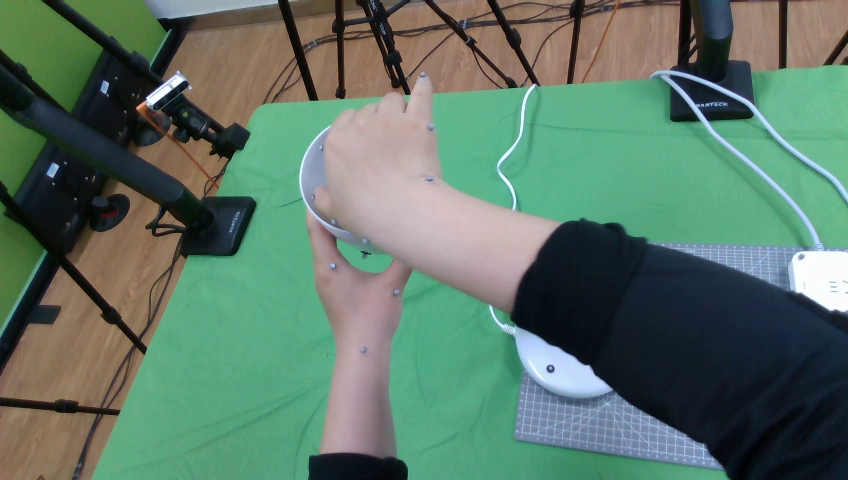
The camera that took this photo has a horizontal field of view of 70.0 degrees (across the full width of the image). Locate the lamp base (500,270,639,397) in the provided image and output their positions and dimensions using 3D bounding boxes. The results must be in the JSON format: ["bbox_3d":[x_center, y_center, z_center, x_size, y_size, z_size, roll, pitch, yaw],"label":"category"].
[{"bbox_3d":[0.165,0.089,0.740,0.178,0.182,0.159,-5,57,19],"label":"lamp base"}]

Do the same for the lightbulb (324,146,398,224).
[{"bbox_3d":[-0.048,-0.040,0.514,0.059,0.108,0.059,-2,74,6],"label":"lightbulb"}]

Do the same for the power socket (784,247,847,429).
[{"bbox_3d":[0.477,0.106,0.714,0.072,0.033,0.225,1,58,18],"label":"power socket"}]

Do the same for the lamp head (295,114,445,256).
[{"bbox_3d":[-0.040,-0.035,0.538,0.112,0.124,0.111,-4,68,11],"label":"lamp head"}]
